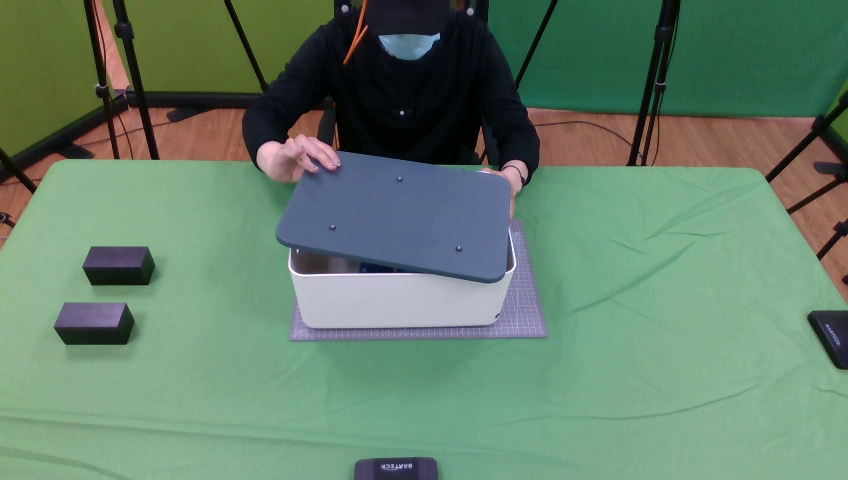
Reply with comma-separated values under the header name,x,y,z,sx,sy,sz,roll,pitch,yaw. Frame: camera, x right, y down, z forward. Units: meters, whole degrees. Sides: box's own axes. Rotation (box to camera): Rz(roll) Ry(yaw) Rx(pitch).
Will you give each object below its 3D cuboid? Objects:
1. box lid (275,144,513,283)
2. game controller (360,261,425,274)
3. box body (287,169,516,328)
name,x,y,z,sx,sy,sz,roll,pitch,yaw
box lid,-0.035,-0.053,1.013,0.371,0.015,0.262,10,45,1
game controller,-0.043,0.055,1.107,0.155,0.052,0.096,12,54,8
box body,-0.040,0.015,1.075,0.364,0.161,0.252,-1,47,-4
